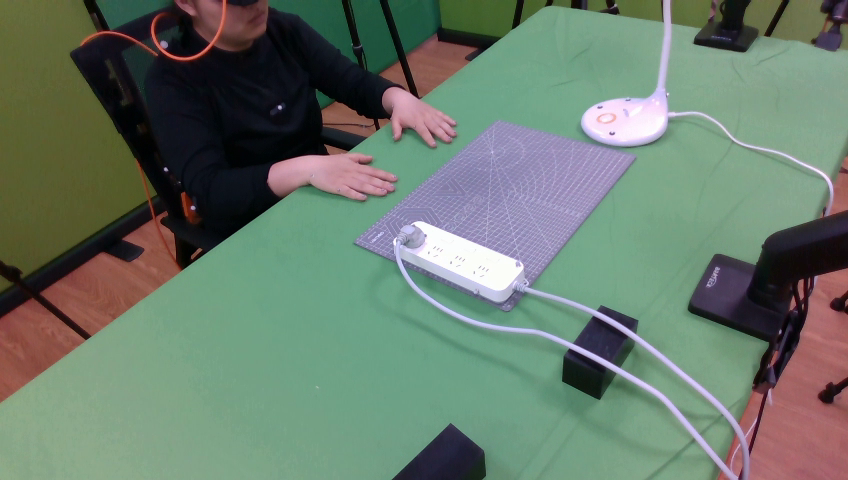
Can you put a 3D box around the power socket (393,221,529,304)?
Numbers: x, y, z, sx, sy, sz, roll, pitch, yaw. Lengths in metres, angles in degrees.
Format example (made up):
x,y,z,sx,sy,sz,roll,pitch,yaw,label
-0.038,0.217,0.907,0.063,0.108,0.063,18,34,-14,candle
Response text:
x,y,z,sx,sy,sz,roll,pitch,yaw,label
0.049,0.030,0.914,0.225,0.033,0.072,24,51,31,power socket

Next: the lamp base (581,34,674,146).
x,y,z,sx,sy,sz,roll,pitch,yaw,label
0.392,-0.291,1.129,0.180,0.181,0.159,-11,41,-8,lamp base

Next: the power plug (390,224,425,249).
x,y,z,sx,sy,sz,roll,pitch,yaw,label
-0.030,0.004,0.920,0.073,0.053,0.035,-34,47,-26,power plug
